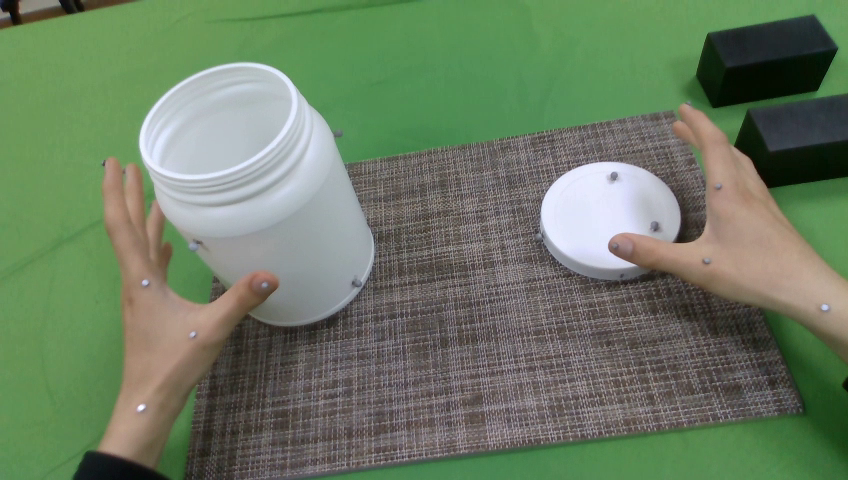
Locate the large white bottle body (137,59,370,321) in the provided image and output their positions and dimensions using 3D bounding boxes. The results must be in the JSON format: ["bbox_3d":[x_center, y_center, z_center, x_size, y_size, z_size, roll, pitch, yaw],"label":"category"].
[{"bbox_3d":[-0.123,-0.033,0.471,0.130,0.186,0.129,-5,55,7],"label":"large white bottle body"}]

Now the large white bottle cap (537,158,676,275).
[{"bbox_3d":[0.154,-0.023,0.519,0.115,0.018,0.113,-5,56,7],"label":"large white bottle cap"}]
